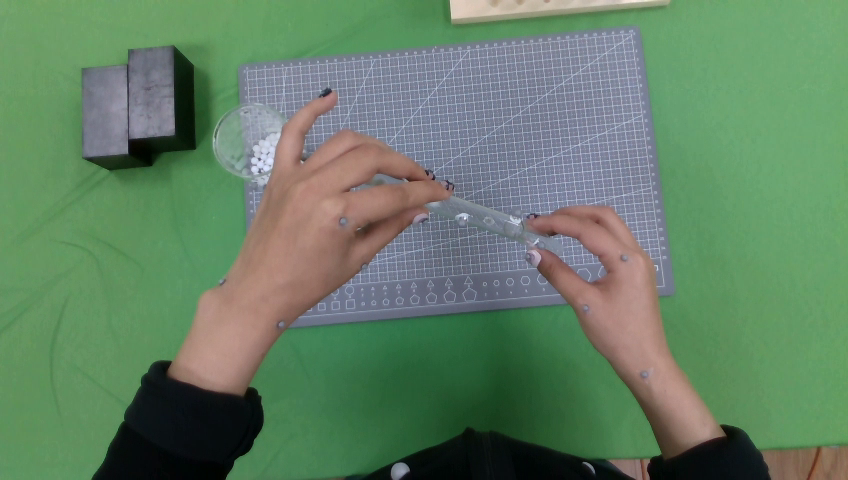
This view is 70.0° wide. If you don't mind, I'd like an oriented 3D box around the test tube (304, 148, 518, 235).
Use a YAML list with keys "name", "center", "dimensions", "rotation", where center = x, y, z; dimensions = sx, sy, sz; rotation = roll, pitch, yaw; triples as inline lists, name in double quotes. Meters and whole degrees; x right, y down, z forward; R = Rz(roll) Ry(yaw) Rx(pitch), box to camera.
- name: "test tube"
  center: [-0.009, -0.033, 0.410]
  dimensions: [0.150, 0.017, 0.017]
  rotation: [18, 84, -1]

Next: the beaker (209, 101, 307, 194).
- name: "beaker"
  center: [-0.162, -0.091, 0.621]
  dimensions: [0.084, 0.100, 0.074]
  rotation: [-13, 83, 0]

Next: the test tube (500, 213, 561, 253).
- name: "test tube"
  center: [0.089, -0.003, 0.483]
  dimensions: [0.017, 0.151, 0.017]
  rotation: [-3, 83, 23]

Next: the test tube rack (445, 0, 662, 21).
- name: "test tube rack"
  center: [0.142, -0.295, 0.644]
  dimensions: [0.242, 0.085, 0.066]
  rotation: [-5, 83, 2]
